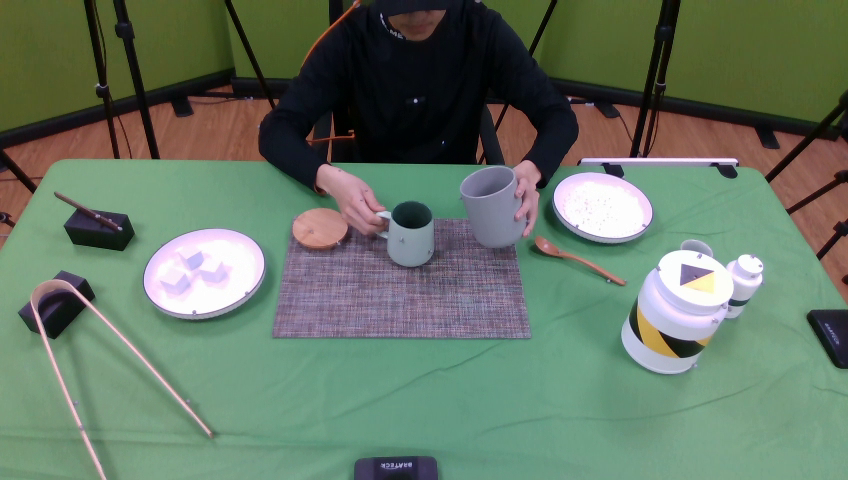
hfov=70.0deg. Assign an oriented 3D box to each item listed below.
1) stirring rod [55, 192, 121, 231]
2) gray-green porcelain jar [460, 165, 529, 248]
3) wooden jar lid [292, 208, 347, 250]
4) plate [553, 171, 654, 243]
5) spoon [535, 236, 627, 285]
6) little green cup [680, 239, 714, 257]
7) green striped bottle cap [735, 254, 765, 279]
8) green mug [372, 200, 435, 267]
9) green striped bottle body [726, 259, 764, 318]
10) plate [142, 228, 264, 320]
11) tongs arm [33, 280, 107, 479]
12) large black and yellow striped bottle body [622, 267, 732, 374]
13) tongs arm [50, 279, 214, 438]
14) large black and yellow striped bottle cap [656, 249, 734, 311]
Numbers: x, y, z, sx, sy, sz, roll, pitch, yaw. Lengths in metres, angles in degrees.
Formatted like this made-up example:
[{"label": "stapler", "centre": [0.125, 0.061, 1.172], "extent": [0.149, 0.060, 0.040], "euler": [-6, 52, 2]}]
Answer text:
[{"label": "stirring rod", "centre": [-0.632, -0.055, 1.138], "extent": [0.175, 0.014, 0.006], "euler": [24, 50, 19]}, {"label": "gray-green porcelain jar", "centre": [0.133, -0.057, 1.116], "extent": [0.106, 0.127, 0.105], "euler": [-14, 33, 10]}, {"label": "wooden jar lid", "centre": [-0.205, -0.020, 1.196], "extent": [0.108, 0.021, 0.107], "euler": [3, 46, -3]}, {"label": "plate", "centre": [0.373, -0.066, 1.275], "extent": [0.209, 0.038, 0.208], "euler": [2, 46, -2]}, {"label": "spoon", "centre": [0.303, 0.040, 1.178], "extent": [0.193, 0.022, 0.041], "euler": [25, 32, 20]}, {"label": "little green cup", "centre": [0.530, 0.033, 1.189], "extent": [0.061, 0.039, 0.061], "euler": [2, 47, -2]}, {"label": "green striped bottle cap", "centre": [0.566, 0.046, 1.051], "extent": [0.044, 0.020, 0.044], "euler": [0, 45, 0]}, {"label": "green mug", "centre": [-0.040, -0.015, 1.145], "extent": [0.125, 0.105, 0.092], "euler": [16, 48, 12]}, {"label": "green striped bottle body", "centre": [0.563, 0.081, 1.089], "extent": [0.063, 0.120, 0.063], "euler": [2, 46, -2]}, {"label": "plate", "centre": [-0.394, 0.064, 1.095], "extent": [0.208, 0.039, 0.206], "euler": [2, 46, -2]}, {"label": "tongs arm", "centre": [-0.517, 0.214, 0.909], "extent": [0.051, 0.026, 0.383], "euler": [-29, 63, -27]}, {"label": "large black and yellow striped bottle body", "centre": [0.415, 0.119, 0.997], "extent": [0.131, 0.185, 0.130], "euler": [2, 46, -2]}, {"label": "tongs arm", "centre": [-0.459, 0.178, 0.949], "extent": [0.386, 0.028, 0.028], "euler": [37, 60, 17]}, {"label": "large black and yellow striped bottle cap", "centre": [0.419, 0.061, 0.938], "extent": [0.115, 0.019, 0.114], "euler": [2, 47, -2]}]
